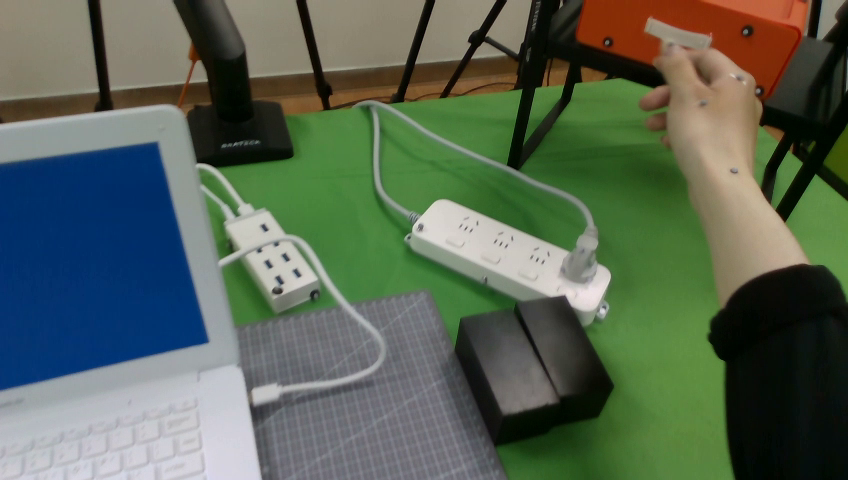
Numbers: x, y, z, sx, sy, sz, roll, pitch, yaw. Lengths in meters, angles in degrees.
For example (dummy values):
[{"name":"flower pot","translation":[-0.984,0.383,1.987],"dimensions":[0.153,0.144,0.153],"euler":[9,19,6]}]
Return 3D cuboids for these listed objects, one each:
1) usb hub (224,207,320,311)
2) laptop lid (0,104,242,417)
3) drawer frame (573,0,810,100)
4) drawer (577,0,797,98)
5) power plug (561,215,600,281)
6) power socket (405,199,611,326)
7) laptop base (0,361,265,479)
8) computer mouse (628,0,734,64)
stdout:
[{"name":"usb hub","translation":[-0.158,0.016,0.620],"dimensions":[0.049,0.025,0.124],"euler":[-24,52,-27]},{"name":"laptop lid","translation":[-0.324,0.040,0.415],"dimensions":[0.357,0.243,0.013],"euler":[-13,34,-16]},{"name":"drawer frame","translation":[0.293,-0.255,0.649],"dimensions":[0.200,0.083,0.213],"euler":[23,46,17]},{"name":"drawer","translation":[0.293,-0.252,0.648],"dimensions":[0.193,0.074,0.211],"euler":[24,46,18]},{"name":"power plug","translation":[0.169,0.016,0.620],"dimensions":[0.035,0.053,0.072],"euler":[32,52,26]},{"name":"power socket","translation":[0.088,0.019,0.639],"dimensions":[0.225,0.033,0.072],"euler":[24,46,18]},{"name":"laptop base","translation":[-0.282,0.220,0.403],"dimensions":[0.355,0.023,0.233],"euler":[-12,50,-17]},{"name":"computer mouse","translation":[0.272,-0.228,0.638],"dimensions":[0.063,0.041,0.116],"euler":[-13,52,-23]}]
